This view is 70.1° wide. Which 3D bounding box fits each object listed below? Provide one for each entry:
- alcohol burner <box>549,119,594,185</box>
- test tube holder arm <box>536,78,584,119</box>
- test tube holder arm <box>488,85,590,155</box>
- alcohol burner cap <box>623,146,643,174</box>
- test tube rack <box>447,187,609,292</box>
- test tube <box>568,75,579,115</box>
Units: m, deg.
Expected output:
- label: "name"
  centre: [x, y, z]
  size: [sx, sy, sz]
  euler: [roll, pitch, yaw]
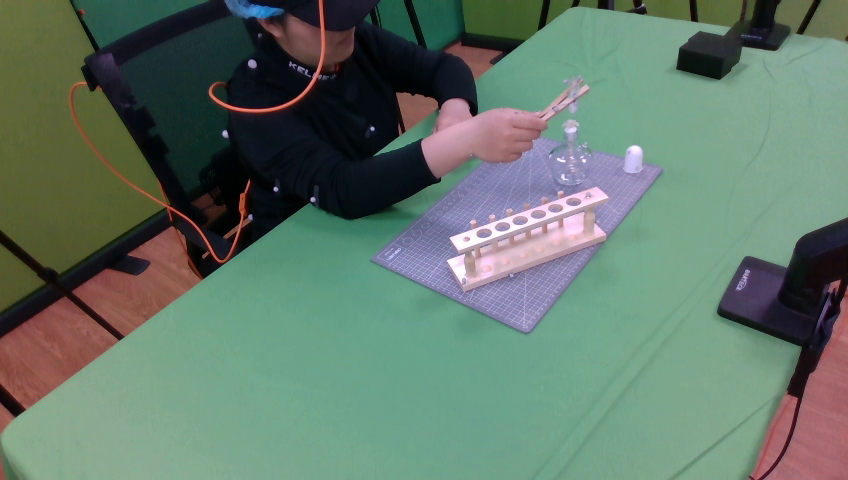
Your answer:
- label: "alcohol burner"
  centre: [0.254, -0.155, 1.043]
  size: [0.078, 0.120, 0.077]
  euler: [-7, 40, 6]
- label: "test tube holder arm"
  centre: [0.207, -0.214, 0.925]
  size: [0.087, 0.015, 0.010]
  euler: [-42, 81, 15]
- label: "test tube holder arm"
  centre: [0.176, -0.184, 0.937]
  size: [0.178, 0.015, 0.013]
  euler: [-34, 83, 17]
- label: "alcohol burner cap"
  centre: [0.369, -0.143, 1.062]
  size: [0.034, 0.048, 0.033]
  euler: [-7, 40, 6]
- label: "test tube rack"
  centre: [0.155, -0.011, 0.913]
  size: [0.243, 0.085, 0.066]
  euler: [-19, 41, -11]
- label: "test tube"
  centre: [0.232, -0.222, 0.937]
  size: [0.017, 0.151, 0.017]
  euler: [-1, 84, 14]
